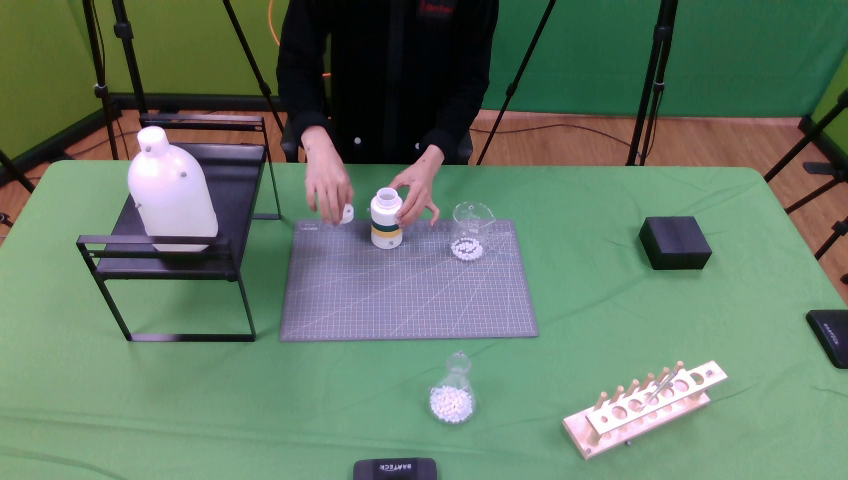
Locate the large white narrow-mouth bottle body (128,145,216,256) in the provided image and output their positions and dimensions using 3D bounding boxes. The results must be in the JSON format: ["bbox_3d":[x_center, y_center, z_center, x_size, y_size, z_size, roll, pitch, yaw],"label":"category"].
[{"bbox_3d":[-0.366,-0.073,0.872,0.102,0.195,0.101,3,47,-3],"label":"large white narrow-mouth bottle body"}]

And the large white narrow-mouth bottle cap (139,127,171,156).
[{"bbox_3d":[-0.359,-0.132,0.807,0.038,0.024,0.037,3,47,-3],"label":"large white narrow-mouth bottle cap"}]

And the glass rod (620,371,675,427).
[{"bbox_3d":[0.316,0.230,0.863,0.008,0.200,0.008,3,54,-3],"label":"glass rod"}]

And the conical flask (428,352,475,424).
[{"bbox_3d":[0.046,0.220,0.920,0.075,0.122,0.075,2,46,-2],"label":"conical flask"}]

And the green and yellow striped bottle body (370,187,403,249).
[{"bbox_3d":[-0.073,-0.045,1.163,0.063,0.120,0.063,2,46,-2],"label":"green and yellow striped bottle body"}]

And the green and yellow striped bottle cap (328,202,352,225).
[{"bbox_3d":[-0.158,-0.051,1.141,0.045,0.020,0.045,4,49,-4],"label":"green and yellow striped bottle cap"}]

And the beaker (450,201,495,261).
[{"bbox_3d":[0.089,-0.014,1.160,0.084,0.101,0.073,9,47,4],"label":"beaker"}]

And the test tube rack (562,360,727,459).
[{"bbox_3d":[0.341,0.247,0.940,0.243,0.085,0.066,-16,49,-18],"label":"test tube rack"}]
